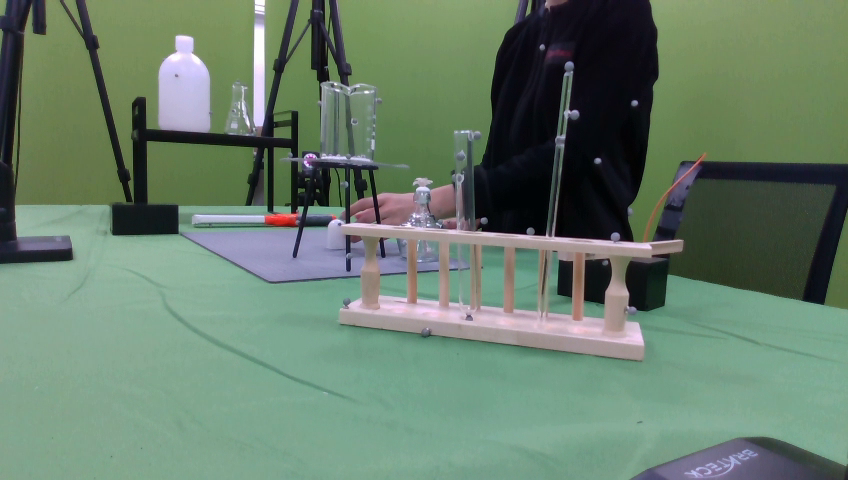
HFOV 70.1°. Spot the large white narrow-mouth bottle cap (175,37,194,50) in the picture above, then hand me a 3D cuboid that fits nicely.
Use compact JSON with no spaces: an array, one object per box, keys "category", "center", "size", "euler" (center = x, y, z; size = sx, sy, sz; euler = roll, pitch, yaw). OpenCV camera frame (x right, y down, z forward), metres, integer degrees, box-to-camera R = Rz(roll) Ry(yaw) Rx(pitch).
[{"category":"large white narrow-mouth bottle cap","center":[-0.501,-0.410,1.264],"size":[0.038,0.024,0.037],"euler":[2,7,0]}]

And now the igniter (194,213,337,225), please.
[{"category":"igniter","center":[-0.306,-0.042,1.196],"size":[0.278,0.025,0.057],"euler":[-2,-2,-31]}]

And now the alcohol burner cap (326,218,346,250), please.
[{"category":"alcohol burner cap","center":[-0.133,-0.010,0.927],"size":[0.034,0.048,0.034],"euler":[6,7,0]}]

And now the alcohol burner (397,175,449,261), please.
[{"category":"alcohol burner","center":[-0.003,-0.031,0.846],"size":[0.078,0.119,0.078],"euler":[0,6,0]}]

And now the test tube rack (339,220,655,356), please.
[{"category":"test tube rack","center":[0.056,0.032,0.495],"size":[0.242,0.085,0.067],"euler":[4,7,15]}]

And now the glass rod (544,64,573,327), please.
[{"category":"glass rod","center":[0.101,-0.028,0.453],"size":[0.008,0.199,0.008],"euler":[2,13,0]}]

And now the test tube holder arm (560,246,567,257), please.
[{"category":"test tube holder arm","center":[0.173,0.007,0.611],"size":[0.088,0.015,0.010],"euler":[-3,9,-30]}]

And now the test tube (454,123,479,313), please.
[{"category":"test tube","center":[0.034,-0.016,0.477],"size":[0.017,0.150,0.017],"euler":[-2,9,1]}]

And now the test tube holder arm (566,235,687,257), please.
[{"category":"test tube holder arm","center":[0.215,0.006,0.630],"size":[0.179,0.015,0.013],"euler":[-3,9,-31]}]

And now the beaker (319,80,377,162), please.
[{"category":"beaker","center":[-0.098,-0.150,0.777],"size":[0.074,0.100,0.084],"euler":[1,7,-7]}]

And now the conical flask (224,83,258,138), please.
[{"category":"conical flask","center":[-0.422,-0.299,1.395],"size":[0.075,0.122,0.075],"euler":[2,7,0]}]

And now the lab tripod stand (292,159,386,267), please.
[{"category":"lab tripod stand","center":[-0.105,-0.039,0.797],"size":[0.148,0.131,0.148],"euler":[2,5,0]}]

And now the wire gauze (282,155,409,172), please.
[{"category":"wire gauze","center":[-0.104,-0.103,0.785],"size":[0.126,0.011,0.121],"euler":[1,8,-39]}]

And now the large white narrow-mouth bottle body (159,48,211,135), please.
[{"category":"large white narrow-mouth bottle body","center":[-0.503,-0.323,1.275],"size":[0.102,0.194,0.102],"euler":[2,7,0]}]
